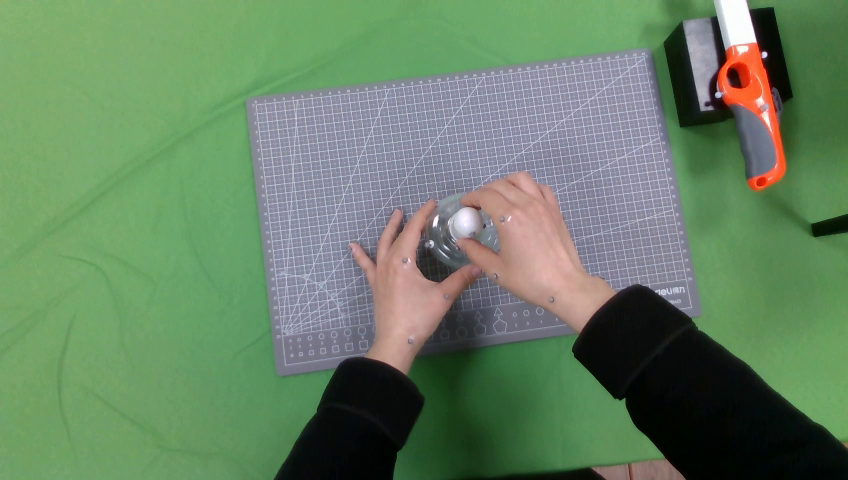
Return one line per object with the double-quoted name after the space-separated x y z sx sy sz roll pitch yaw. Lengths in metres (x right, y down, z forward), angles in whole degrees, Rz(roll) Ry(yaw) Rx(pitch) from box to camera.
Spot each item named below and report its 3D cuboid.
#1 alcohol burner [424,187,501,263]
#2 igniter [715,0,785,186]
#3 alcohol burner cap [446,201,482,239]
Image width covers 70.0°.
0.039 -0.017 0.590 0.078 0.119 0.077 0 85 0 "alcohol burner"
0.323 -0.190 0.616 0.057 0.025 0.275 -7 81 -1 "igniter"
0.039 -0.020 0.559 0.034 0.048 0.034 1 83 -5 "alcohol burner cap"
